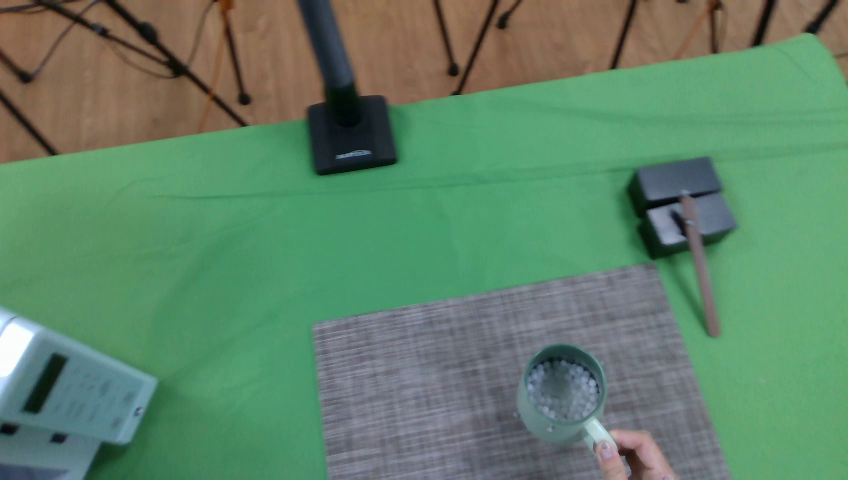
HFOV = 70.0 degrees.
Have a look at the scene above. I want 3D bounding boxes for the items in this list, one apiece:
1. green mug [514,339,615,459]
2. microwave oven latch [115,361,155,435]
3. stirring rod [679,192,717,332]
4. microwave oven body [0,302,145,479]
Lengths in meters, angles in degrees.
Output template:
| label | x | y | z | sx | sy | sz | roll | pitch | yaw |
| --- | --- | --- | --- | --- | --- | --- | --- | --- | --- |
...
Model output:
| label | x | y | z | sx | sy | sz | roll | pitch | yaw |
| --- | --- | --- | --- | --- | --- | --- | --- | --- | --- |
| green mug | 0.149 | 0.167 | 0.622 | 0.092 | 0.106 | 0.124 | -34 | 65 | -8 |
| microwave oven latch | -0.342 | 0.181 | 0.699 | 0.030 | 0.030 | 0.079 | 19 | 70 | 8 |
| stirring rod | 0.338 | 0.027 | 0.748 | 0.014 | 0.006 | 0.176 | -12 | 92 | 8 |
| microwave oven body | -0.541 | 0.257 | 0.566 | 0.325 | 0.262 | 0.439 | 17 | 69 | 7 |
